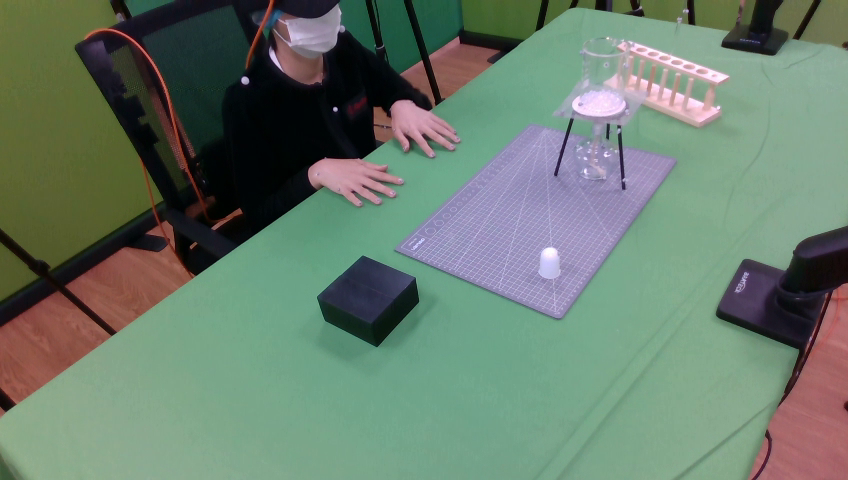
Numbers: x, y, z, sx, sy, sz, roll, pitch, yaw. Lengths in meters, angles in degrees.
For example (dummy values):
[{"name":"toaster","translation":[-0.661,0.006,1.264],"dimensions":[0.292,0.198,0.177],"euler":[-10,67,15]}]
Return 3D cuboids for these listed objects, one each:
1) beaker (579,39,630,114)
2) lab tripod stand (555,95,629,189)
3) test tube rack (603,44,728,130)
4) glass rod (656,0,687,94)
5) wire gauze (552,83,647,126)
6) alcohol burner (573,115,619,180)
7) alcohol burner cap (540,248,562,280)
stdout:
[{"name":"beaker","translation":[0.289,-0.263,0.975],"dimensions":[0.073,0.101,0.084],"euler":[17,45,27]},{"name":"lab tripod stand","translation":[0.300,-0.174,1.045],"dimensions":[0.148,0.132,0.147],"euler":[-5,38,5]},{"name":"test tube rack","translation":[0.480,-0.316,1.227],"dimensions":[0.067,0.085,0.240],"euler":[-28,44,-22]},{"name":"glass rod","translation":[0.491,-0.381,1.199],"dimensions":[0.008,0.200,0.008],"euler":[1,41,0]},{"name":"wire gauze","translation":[0.293,-0.224,1.003],"dimensions":[0.120,0.011,0.125],"euler":[19,43,26]},{"name":"alcohol burner","translation":[0.300,-0.164,1.048],"dimensions":[0.078,0.119,0.077],"euler":[-3,40,3]},{"name":"alcohol burner cap","translation":[0.187,0.032,0.888],"dimensions":[0.034,0.048,0.033],"euler":[-4,40,4]}]
